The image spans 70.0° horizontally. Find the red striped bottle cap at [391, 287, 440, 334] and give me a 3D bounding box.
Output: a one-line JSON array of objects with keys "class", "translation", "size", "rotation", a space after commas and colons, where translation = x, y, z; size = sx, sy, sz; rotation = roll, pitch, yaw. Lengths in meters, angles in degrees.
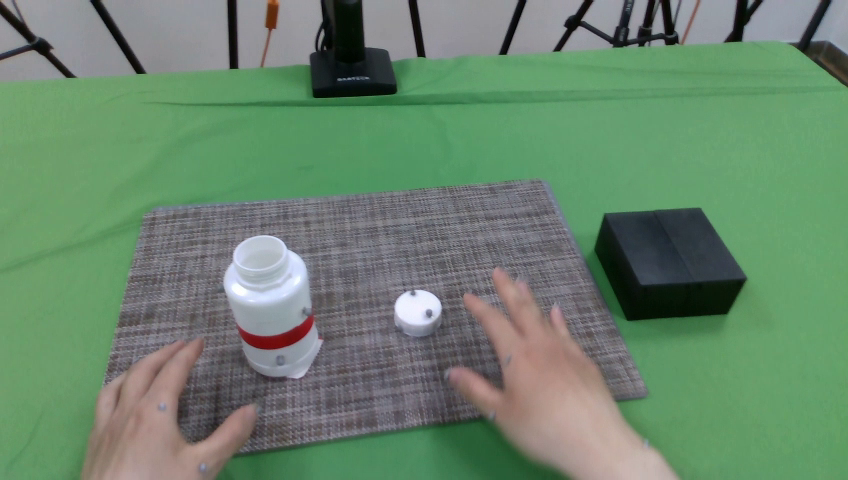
[{"class": "red striped bottle cap", "translation": [-0.008, 0.064, 0.558], "size": [0.044, 0.018, 0.044], "rotation": [6, 42, -5]}]

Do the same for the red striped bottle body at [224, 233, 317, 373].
[{"class": "red striped bottle body", "translation": [-0.124, 0.050, 0.493], "size": [0.063, 0.121, 0.062], "rotation": [1, 44, -1]}]
